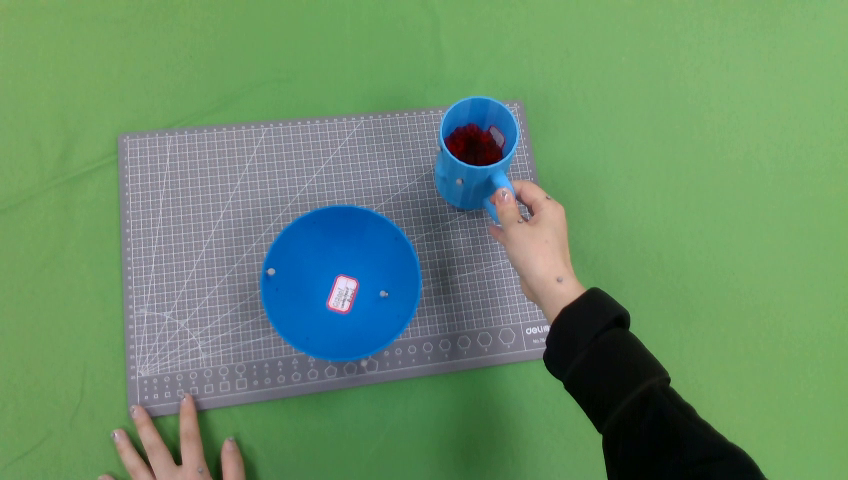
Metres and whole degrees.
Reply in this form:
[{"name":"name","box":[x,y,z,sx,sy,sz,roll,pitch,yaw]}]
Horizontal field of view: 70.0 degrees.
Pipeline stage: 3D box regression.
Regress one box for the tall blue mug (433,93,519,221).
[{"name":"tall blue mug","box":[0.061,-0.080,0.616,0.107,0.108,0.077,34,74,8]}]

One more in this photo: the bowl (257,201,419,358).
[{"name":"bowl","box":[-0.082,0.044,0.600,0.151,0.077,0.150,2,76,-6]}]
